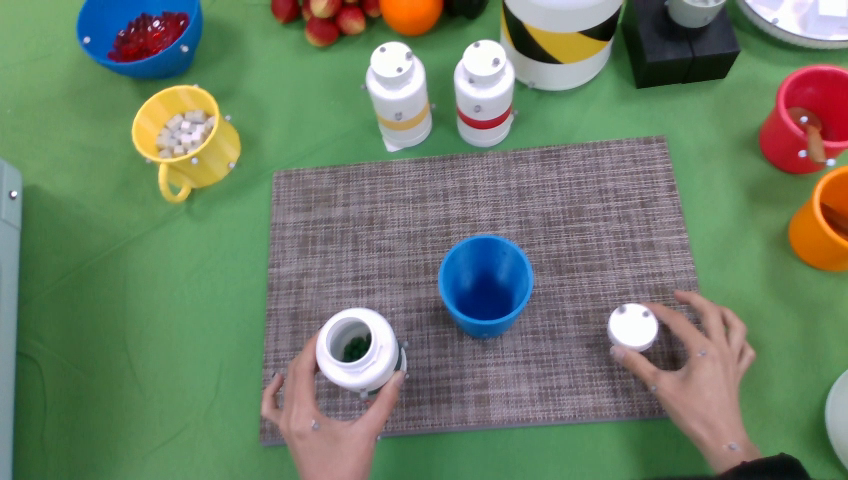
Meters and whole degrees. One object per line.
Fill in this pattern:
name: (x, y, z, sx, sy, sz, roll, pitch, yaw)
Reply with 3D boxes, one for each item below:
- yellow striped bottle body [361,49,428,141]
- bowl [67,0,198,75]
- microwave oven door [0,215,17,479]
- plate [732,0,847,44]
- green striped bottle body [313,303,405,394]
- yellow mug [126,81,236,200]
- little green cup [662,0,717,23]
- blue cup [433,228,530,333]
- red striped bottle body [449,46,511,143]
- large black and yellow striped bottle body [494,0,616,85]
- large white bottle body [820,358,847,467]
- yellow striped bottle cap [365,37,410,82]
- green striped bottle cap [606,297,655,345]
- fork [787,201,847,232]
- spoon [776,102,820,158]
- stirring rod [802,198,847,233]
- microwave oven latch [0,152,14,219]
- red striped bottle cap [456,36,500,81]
yellow striped bottle body: (-0.032, -0.165, 0.663, 0.063, 0.121, 0.062, -2, 69, 6)
bowl: (-0.343, -0.260, 0.751, 0.151, 0.077, 0.150, -1, 69, 4)
microwave oven door: (-0.450, 0.101, 0.515, 0.039, 0.245, 0.353, -14, 68, 0)
plate: (0.459, -0.316, 0.721, 0.209, 0.038, 0.207, -2, 69, 5)
green striped bottle body: (-0.053, 0.091, 0.503, 0.063, 0.120, 0.063, -2, 70, 5)
yellow mug: (-0.280, -0.109, 0.693, 0.100, 0.064, 0.130, 5, 70, 6)
little green cup: (0.293, -0.272, 0.665, 0.061, 0.039, 0.061, -1, 67, 3)
blue cup: (0.054, 0.047, 0.580, 0.092, 0.101, 0.092, -1, 68, 3)
red striped bottle body: (0.061, -0.162, 0.655, 0.063, 0.120, 0.062, -4, 67, 9)
large black and yellow striped bottle body: (0.143, -0.272, 0.655, 0.130, 0.185, 0.130, -2, 69, 5)
large white bottle body: (0.421, 0.134, 0.473, 0.130, 0.186, 0.129, -2, 68, 5)
yellow striped bottle cap: (-0.037, -0.184, 0.616, 0.044, 0.019, 0.044, -1, 70, 4)
green striped bottle cap: (0.197, 0.077, 0.577, 0.044, 0.020, 0.044, -7, 65, 16)
fork: (0.430, -0.006, 0.545, 0.028, 0.019, 0.205, -43, 27, -10)
spoon: (0.371, -0.111, 0.594, 0.041, 0.193, 0.022, 27, 119, 15)
stirring rod: (0.401, -0.005, 0.555, 0.014, 0.006, 0.175, -3, 25, 2)
microwave oven latch: (-0.487, -0.061, 0.689, 0.030, 0.030, 0.078, -12, 69, 0)
red striped bottle cap: (0.055, -0.182, 0.606, 0.044, 0.018, 0.044, 0, 67, 1)
